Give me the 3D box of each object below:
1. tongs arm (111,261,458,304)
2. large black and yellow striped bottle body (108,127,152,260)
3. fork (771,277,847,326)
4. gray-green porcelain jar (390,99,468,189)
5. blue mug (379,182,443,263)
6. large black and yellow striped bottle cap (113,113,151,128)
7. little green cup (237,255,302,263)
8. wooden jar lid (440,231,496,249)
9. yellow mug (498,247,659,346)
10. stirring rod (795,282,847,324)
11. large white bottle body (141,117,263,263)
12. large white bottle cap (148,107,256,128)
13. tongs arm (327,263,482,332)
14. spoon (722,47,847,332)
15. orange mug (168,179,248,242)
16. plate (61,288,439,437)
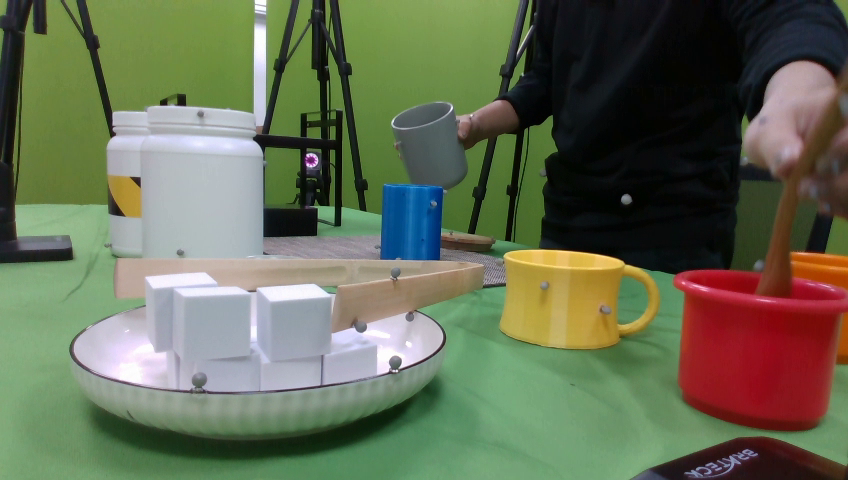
[{"bbox_3d":[-0.080,0.032,0.527,0.028,0.027,0.389,-3,-3,33],"label":"tongs arm"},{"bbox_3d":[-0.350,-0.071,0.812,0.131,0.184,0.130,2,8,0],"label":"large black and yellow striped bottle body"},{"bbox_3d":[0.336,0.018,0.443,0.028,0.018,0.207,-1,-36,-20],"label":"fork"},{"bbox_3d":[0.012,-0.153,1.002,0.106,0.127,0.105,-13,31,8],"label":"gray-green porcelain jar"},{"bbox_3d":[-0.020,-0.026,0.833,0.082,0.106,0.116,1,7,-7],"label":"blue mug"},{"bbox_3d":[-0.348,-0.154,0.800,0.115,0.019,0.115,2,6,0],"label":"large black and yellow striped bottle cap"},{"bbox_3d":[-0.150,0.038,0.590,0.061,0.038,0.061,3,6,0],"label":"little green cup"},{"bbox_3d":[0.066,0.000,1.011,0.108,0.020,0.108,6,7,0],"label":"wooden jar lid"},{"bbox_3d":[0.130,0.045,0.508,0.131,0.064,0.100,4,6,6],"label":"yellow mug"},{"bbox_3d":[0.346,0.019,0.460,0.014,0.176,0.006,-17,60,-26],"label":"stirring rod"},{"bbox_3d":[-0.254,-0.054,0.697,0.131,0.184,0.130,2,7,0],"label":"large white bottle body"},{"bbox_3d":[-0.250,-0.137,0.686,0.115,0.018,0.115,2,8,0],"label":"large white bottle cap"},{"bbox_3d":[-0.003,0.036,0.493,0.050,0.026,0.386,1,0,19],"label":"tongs arm"},{"bbox_3d":[0.194,-0.017,0.323,0.042,0.194,0.021,-24,41,-22],"label":"spoon"},{"bbox_3d":[-0.351,-0.050,0.986,0.126,0.101,0.083,-3,8,-9],"label":"orange mug"},{"bbox_3d":[-0.095,0.069,0.362,0.208,0.039,0.207,3,7,0],"label":"plate"}]
